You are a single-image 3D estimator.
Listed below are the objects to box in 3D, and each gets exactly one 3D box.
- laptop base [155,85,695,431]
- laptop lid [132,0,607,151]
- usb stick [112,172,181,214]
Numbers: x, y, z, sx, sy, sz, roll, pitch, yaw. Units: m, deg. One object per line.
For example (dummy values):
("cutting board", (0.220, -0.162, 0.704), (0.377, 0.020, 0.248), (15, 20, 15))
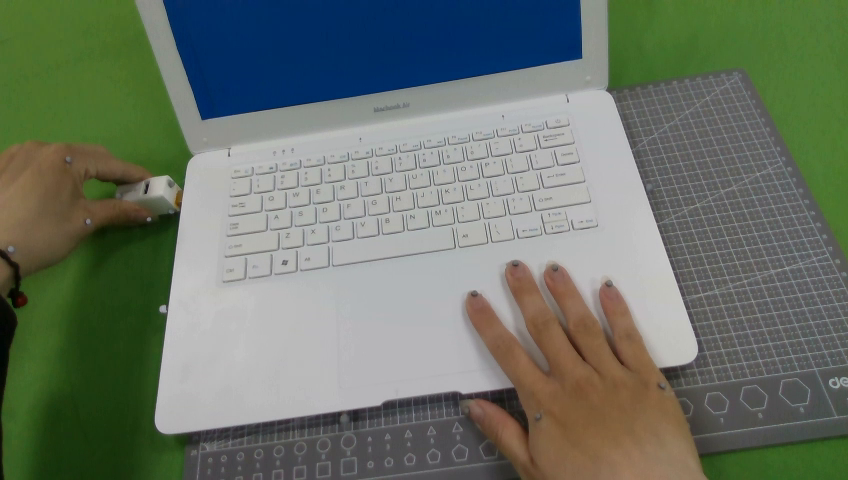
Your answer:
("laptop base", (-0.013, 0.002, 0.447), (0.354, 0.023, 0.233), (-9, 62, 3))
("laptop lid", (-0.043, -0.197, 0.450), (0.356, 0.244, 0.013), (-10, 29, 4))
("usb stick", (-0.215, -0.038, 0.486), (0.059, 0.027, 0.021), (-5, 59, 5))
